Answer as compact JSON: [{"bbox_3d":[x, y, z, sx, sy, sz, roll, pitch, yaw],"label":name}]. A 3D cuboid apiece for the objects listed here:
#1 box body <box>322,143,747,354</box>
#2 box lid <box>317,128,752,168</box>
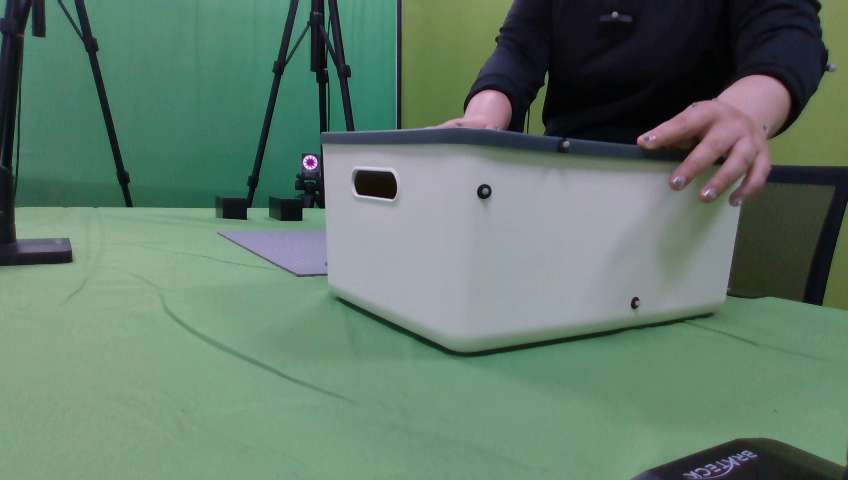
[{"bbox_3d":[0.106,-0.011,0.603,0.366,0.160,0.253,-2,8,-34],"label":"box body"},{"bbox_3d":[0.107,-0.085,0.594,0.373,0.015,0.262,-1,8,-34],"label":"box lid"}]
